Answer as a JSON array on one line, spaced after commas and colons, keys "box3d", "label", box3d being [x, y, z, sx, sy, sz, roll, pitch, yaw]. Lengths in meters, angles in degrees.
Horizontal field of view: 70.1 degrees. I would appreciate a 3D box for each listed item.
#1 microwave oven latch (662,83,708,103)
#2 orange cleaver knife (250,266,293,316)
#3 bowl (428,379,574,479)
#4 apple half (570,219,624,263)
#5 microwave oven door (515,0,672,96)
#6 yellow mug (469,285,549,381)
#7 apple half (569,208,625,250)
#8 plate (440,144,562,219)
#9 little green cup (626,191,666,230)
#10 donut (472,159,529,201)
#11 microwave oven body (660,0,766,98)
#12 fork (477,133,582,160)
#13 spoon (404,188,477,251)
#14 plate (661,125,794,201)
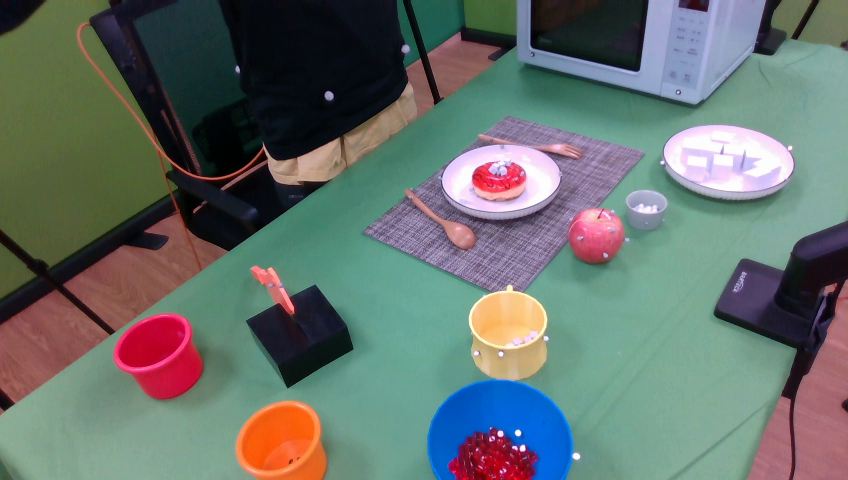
[{"box3d": [0.518, -0.296, 1.204, 0.078, 0.029, 0.030, 27, 52, 35], "label": "microwave oven latch"}, {"box3d": [-0.221, 0.070, 0.873, 0.012, 0.077, 0.210, -26, 11, -21], "label": "orange cleaver knife"}, {"box3d": [0.082, 0.233, 0.644, 0.151, 0.077, 0.150, -4, 39, 4], "label": "bowl"}, {"box3d": [0.250, 0.010, 0.885, 0.081, 0.081, 0.033, 7, 39, 17], "label": "apple half"}, {"box3d": [0.343, -0.454, 1.259, 0.353, 0.245, 0.039, 26, 51, 33], "label": "microwave oven door"}, {"box3d": [0.112, 0.112, 0.792, 0.100, 0.064, 0.130, 0, 40, 9], "label": "yellow mug"}, {"box3d": [0.262, -0.014, 0.913, 0.080, 0.075, 0.053, 4, 37, 20], "label": "apple half"}, {"box3d": [0.134, -0.098, 1.051, 0.209, 0.038, 0.208, -4, 40, 4], "label": "plate"}, {"box3d": [0.352, -0.046, 0.963, 0.061, 0.039, 0.061, -4, 40, 4], "label": "little green cup"}, {"box3d": [0.132, -0.105, 1.044, 0.099, 0.048, 0.098, -5, 38, 5], "label": "donut"}, {"box3d": [0.472, -0.513, 1.317, 0.438, 0.261, 0.327, 26, 51, 34], "label": "microwave oven body"}, {"box3d": [0.198, -0.181, 1.155, 0.206, 0.019, 0.028, 13, 55, 22], "label": "fork"}, {"box3d": [0.020, -0.039, 1.019, 0.042, 0.022, 0.192, -30, 45, -23], "label": "spoon"}, {"box3d": [0.513, -0.128, 1.035, 0.207, 0.039, 0.206, -4, 40, 4], "label": "plate"}]
